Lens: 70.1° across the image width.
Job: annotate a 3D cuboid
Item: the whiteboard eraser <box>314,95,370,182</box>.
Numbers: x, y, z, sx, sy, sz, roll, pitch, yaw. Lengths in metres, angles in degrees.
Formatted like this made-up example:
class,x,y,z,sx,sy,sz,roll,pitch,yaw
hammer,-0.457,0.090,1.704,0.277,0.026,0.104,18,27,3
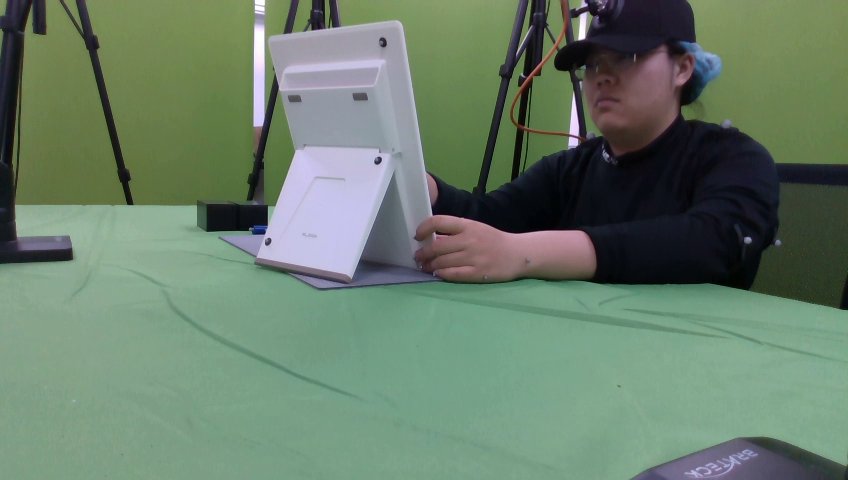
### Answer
class,x,y,z,sx,sy,sz,roll,pitch,yaw
whiteboard eraser,-0.109,-0.132,0.794,0.055,0.113,0.042,9,30,34

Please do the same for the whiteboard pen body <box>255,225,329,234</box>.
class,x,y,z,sx,sy,sz,roll,pitch,yaw
whiteboard pen body,-0.239,-0.019,1.105,0.141,0.017,0.017,-2,9,-34

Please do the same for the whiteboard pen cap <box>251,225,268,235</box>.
class,x,y,z,sx,sy,sz,roll,pitch,yaw
whiteboard pen cap,-0.288,-0.018,1.072,0.033,0.018,0.018,-3,10,-34

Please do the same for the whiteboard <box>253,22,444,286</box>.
class,x,y,z,sx,sy,sz,roll,pitch,yaw
whiteboard,-0.125,-0.081,0.715,0.216,0.305,0.144,9,29,36
